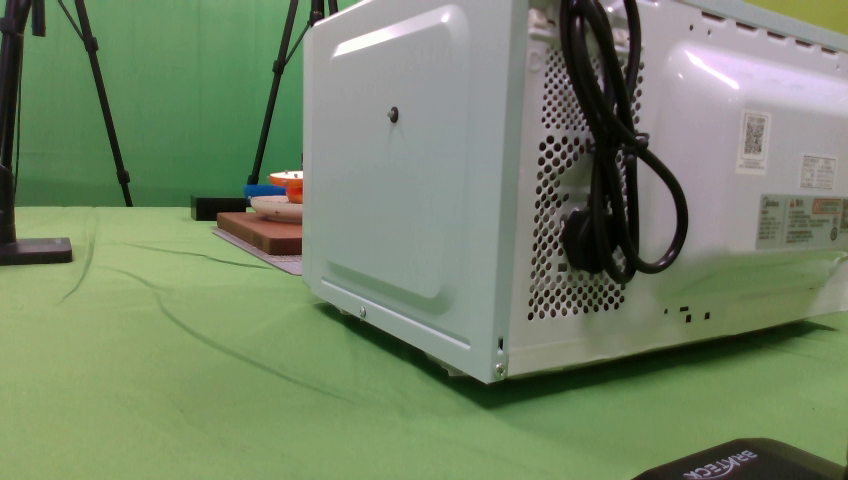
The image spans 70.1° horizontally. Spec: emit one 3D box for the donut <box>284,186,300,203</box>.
[{"bbox_3d":[-0.209,-0.087,1.122,0.099,0.048,0.099,5,8,0],"label":"donut"}]

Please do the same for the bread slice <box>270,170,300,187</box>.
[{"bbox_3d":[-0.213,-0.116,1.112,0.106,0.018,0.135,9,16,38],"label":"bread slice"}]

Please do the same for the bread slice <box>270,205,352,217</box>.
[{"bbox_3d":[-0.213,-0.054,1.116,0.104,0.019,0.132,6,5,41],"label":"bread slice"}]

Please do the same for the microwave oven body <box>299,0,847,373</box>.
[{"bbox_3d":[0.151,-0.055,0.542,0.444,0.260,0.324,-2,7,-33],"label":"microwave oven body"}]

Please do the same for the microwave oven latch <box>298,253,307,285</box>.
[{"bbox_3d":[-0.081,0.027,0.583,0.079,0.029,0.030,-2,7,-33],"label":"microwave oven latch"}]

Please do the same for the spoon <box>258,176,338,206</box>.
[{"bbox_3d":[-0.279,-0.112,1.356,0.194,0.021,0.041,-27,17,-27],"label":"spoon"}]

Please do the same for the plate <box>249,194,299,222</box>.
[{"bbox_3d":[-0.217,-0.058,1.122,0.208,0.039,0.207,3,7,0],"label":"plate"}]

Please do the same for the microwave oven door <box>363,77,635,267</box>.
[{"bbox_3d":[0.091,-0.098,0.823,0.355,0.243,0.039,4,8,15],"label":"microwave oven door"}]

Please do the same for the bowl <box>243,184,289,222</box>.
[{"bbox_3d":[-0.321,-0.081,1.334,0.151,0.077,0.151,3,8,0],"label":"bowl"}]
